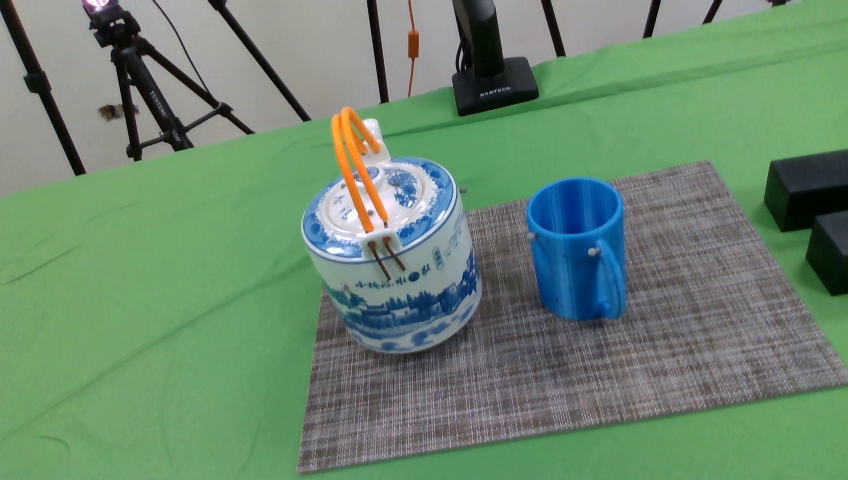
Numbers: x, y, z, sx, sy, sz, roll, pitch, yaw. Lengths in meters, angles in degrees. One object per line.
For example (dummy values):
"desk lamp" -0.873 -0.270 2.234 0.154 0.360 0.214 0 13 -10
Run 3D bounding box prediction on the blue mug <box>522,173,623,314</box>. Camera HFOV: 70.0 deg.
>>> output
"blue mug" 0.143 0.013 0.543 0.082 0.107 0.115 -23 41 -5

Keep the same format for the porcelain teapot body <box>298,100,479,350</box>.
"porcelain teapot body" -0.041 -0.032 0.569 0.145 0.228 0.203 -17 41 2

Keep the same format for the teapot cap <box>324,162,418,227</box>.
"teapot cap" -0.047 -0.043 0.522 0.085 0.044 0.084 -8 40 7
